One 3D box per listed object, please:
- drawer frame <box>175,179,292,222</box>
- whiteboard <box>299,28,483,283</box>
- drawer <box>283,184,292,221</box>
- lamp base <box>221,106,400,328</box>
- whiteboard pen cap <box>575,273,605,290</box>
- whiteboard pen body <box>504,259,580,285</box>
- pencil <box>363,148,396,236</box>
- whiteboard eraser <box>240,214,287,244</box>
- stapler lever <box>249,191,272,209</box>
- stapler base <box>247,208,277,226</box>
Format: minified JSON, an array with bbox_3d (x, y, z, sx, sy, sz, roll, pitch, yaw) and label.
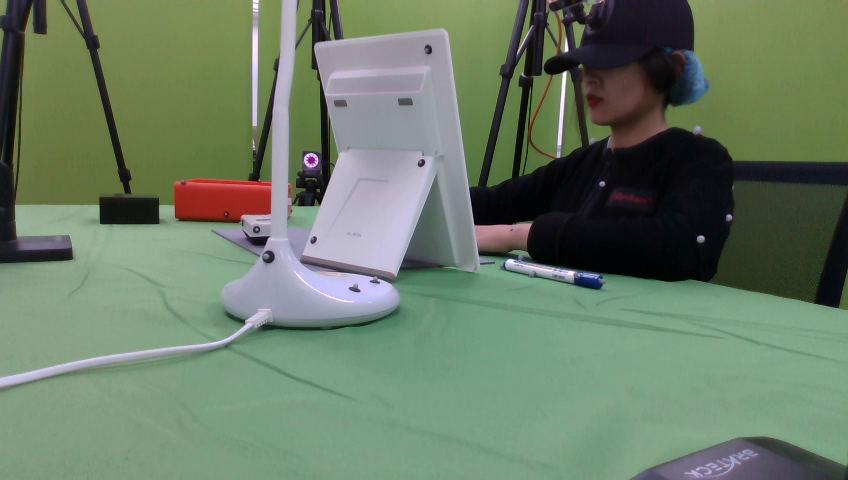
[{"bbox_3d":[-0.402,-0.087,1.311,0.214,0.082,0.201,1,8,-9],"label":"drawer frame"},{"bbox_3d":[-0.075,-0.082,0.741,0.216,0.305,0.144,9,30,38],"label":"whiteboard"},{"bbox_3d":[-0.397,-0.086,1.314,0.212,0.073,0.194,1,8,-9],"label":"drawer"},{"bbox_3d":[-0.101,-0.023,0.531,0.160,0.180,0.179,4,10,10],"label":"lamp base"},{"bbox_3d":[0.197,0.048,0.719,0.018,0.018,0.033,-4,11,-41],"label":"whiteboard pen cap"},{"bbox_3d":[0.157,0.042,0.764,0.017,0.017,0.140,-4,10,-41],"label":"whiteboard pen body"},{"bbox_3d":[-0.082,-0.090,1.108,0.012,0.194,0.012,13,-26,7],"label":"pencil"},{"bbox_3d":[-0.256,-0.018,0.958,0.056,0.042,0.112,0,8,-25],"label":"whiteboard eraser"},{"bbox_3d":[-0.352,-0.086,1.306,0.027,0.040,0.118,-1,5,-3],"label":"stapler lever"},{"bbox_3d":[-0.350,-0.054,1.310,0.041,0.024,0.130,-1,13,-3],"label":"stapler base"}]
